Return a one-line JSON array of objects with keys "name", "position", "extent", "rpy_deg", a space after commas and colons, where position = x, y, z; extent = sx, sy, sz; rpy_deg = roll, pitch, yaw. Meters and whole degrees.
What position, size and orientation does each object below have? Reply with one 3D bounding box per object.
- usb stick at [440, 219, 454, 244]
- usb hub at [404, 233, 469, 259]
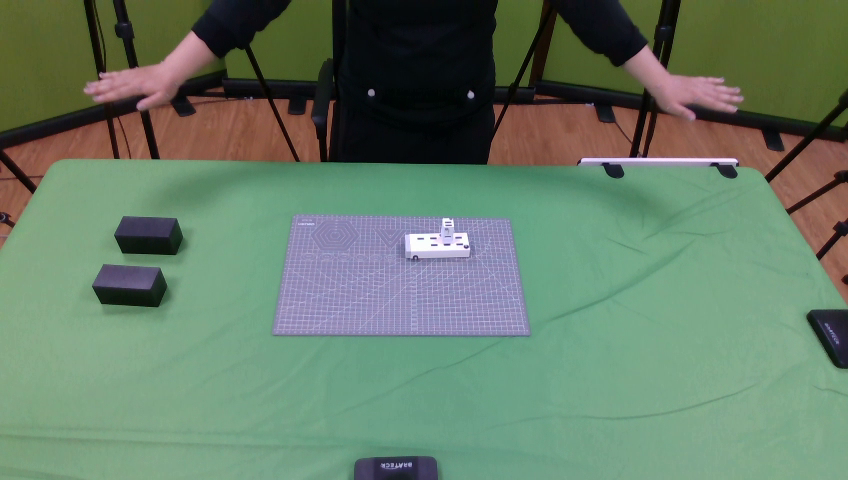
[{"name": "usb stick", "position": [0.043, -0.011, 1.166], "extent": [0.021, 0.059, 0.027], "rpy_deg": [-3, 48, -8]}, {"name": "usb hub", "position": [0.024, 0.012, 1.181], "extent": [0.125, 0.025, 0.049], "rpy_deg": [-2, 47, -5]}]
